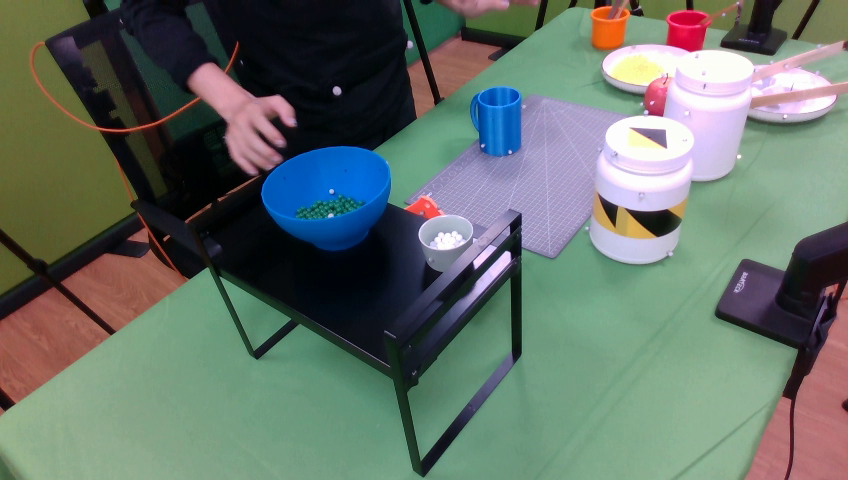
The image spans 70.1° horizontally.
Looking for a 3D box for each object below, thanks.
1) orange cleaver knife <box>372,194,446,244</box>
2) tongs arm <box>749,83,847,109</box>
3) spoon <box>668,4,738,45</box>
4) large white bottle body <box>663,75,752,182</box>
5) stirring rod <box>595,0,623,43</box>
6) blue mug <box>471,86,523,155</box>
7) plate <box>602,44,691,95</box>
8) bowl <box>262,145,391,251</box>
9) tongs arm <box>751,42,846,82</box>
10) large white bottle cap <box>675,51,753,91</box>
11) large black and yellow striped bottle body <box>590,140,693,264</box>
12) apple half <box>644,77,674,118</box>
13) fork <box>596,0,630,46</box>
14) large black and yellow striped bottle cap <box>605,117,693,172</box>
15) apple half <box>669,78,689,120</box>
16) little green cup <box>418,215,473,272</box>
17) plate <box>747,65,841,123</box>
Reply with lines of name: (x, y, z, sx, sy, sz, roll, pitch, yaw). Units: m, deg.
orange cleaver knife: (-0.032, -0.027, 0.965, 0.210, 0.077, 0.012, -9, 29, 51)
tongs arm: (0.734, -0.280, 1.133, 0.388, 0.028, 0.028, -9, 47, -5)
spoon: (0.618, -0.478, 1.346, 0.042, 0.193, 0.021, -25, 89, -20)
large white bottle body: (0.472, -0.207, 1.022, 0.130, 0.185, 0.130, -4, 41, 4)
stirring rod: (0.460, -0.556, 1.459, 0.014, 0.006, 0.176, 30, 93, 23)
blue mug: (0.135, -0.235, 1.163, 0.082, 0.106, 0.115, -36, 48, -28)
plate: (0.494, -0.367, 1.317, 0.209, 0.038, 0.208, -4, 40, 4)
bowl: (-0.108, -0.041, 0.723, 0.151, 0.077, 0.150, -4, 40, 4)
tongs arm: (0.708, -0.331, 1.193, 0.386, 0.026, 0.050, -18, 45, -16)
large white bottle cap: (0.463, -0.271, 0.967, 0.115, 0.018, 0.114, -4, 40, 3)
large black and yellow striped bottle body: (0.317, -0.071, 0.889, 0.131, 0.185, 0.130, -4, 41, 4)
apple half: (0.463, -0.279, 1.194, 0.053, 0.075, 0.081, 8, 46, 24)
fork: (0.481, -0.556, 1.452, 0.028, 0.019, 0.207, 40, 103, 40)
large black and yellow striped bottle cap: (0.309, -0.134, 0.833, 0.115, 0.019, 0.114, -5, 40, 5)
apple half: (0.498, -0.273, 1.180, 0.032, 0.082, 0.081, 7, 42, 25)
little green cup: (0.026, 0.005, 0.678, 0.061, 0.039, 0.061, -4, 40, 4)
plate: (0.694, -0.282, 1.189, 0.207, 0.039, 0.206, -4, 40, 4)
